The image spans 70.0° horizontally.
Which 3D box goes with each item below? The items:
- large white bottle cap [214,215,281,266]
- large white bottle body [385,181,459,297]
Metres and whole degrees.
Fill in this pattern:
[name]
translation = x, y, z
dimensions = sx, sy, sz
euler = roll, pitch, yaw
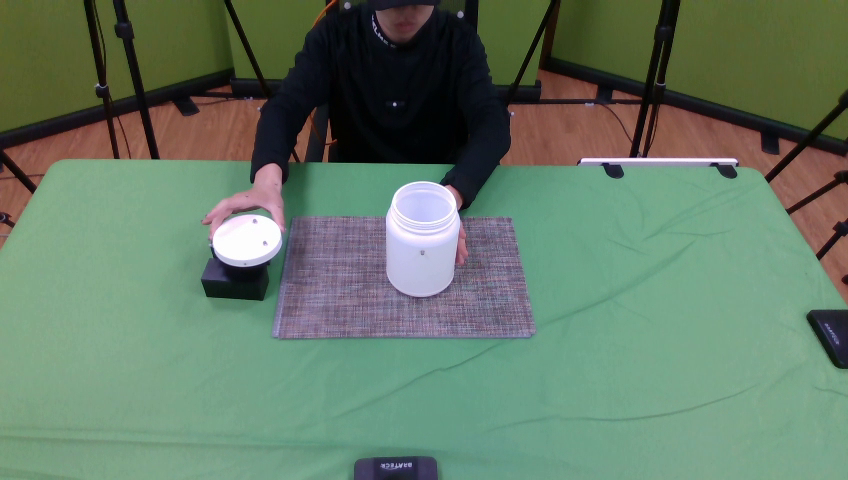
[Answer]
[large white bottle cap]
translation = -0.310, -0.001, 1.063
dimensions = 0.115, 0.018, 0.114
euler = 3, 45, -2
[large white bottle body]
translation = -0.005, -0.003, 1.082
dimensions = 0.131, 0.185, 0.130
euler = 2, 46, -2
